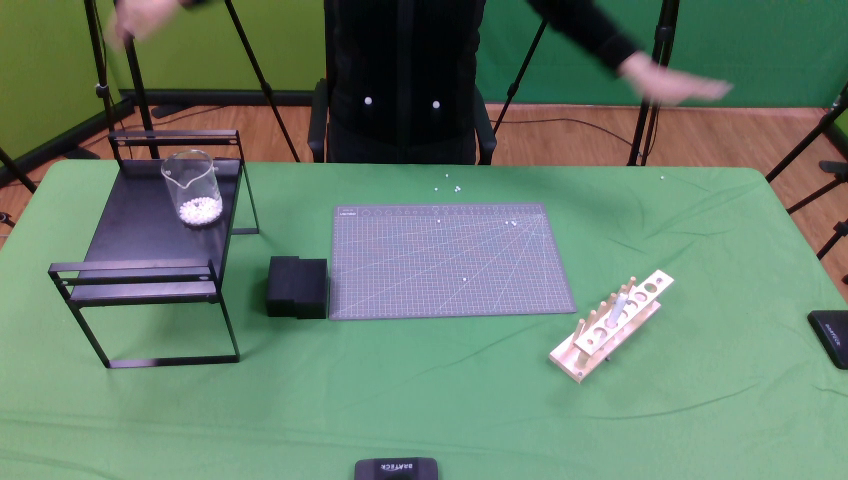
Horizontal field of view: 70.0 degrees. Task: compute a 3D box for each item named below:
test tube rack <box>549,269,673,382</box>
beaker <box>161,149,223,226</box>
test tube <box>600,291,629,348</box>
[{"bbox_3d":[0.325,0.134,1.047,0.242,0.085,0.066,-32,56,-30],"label":"test tube rack"},{"bbox_3d":[-0.357,-0.077,0.942,0.074,0.101,0.083,-4,47,-7],"label":"beaker"},{"bbox_3d":[0.304,0.131,0.980,0.017,0.151,0.017,1,50,0],"label":"test tube"}]
